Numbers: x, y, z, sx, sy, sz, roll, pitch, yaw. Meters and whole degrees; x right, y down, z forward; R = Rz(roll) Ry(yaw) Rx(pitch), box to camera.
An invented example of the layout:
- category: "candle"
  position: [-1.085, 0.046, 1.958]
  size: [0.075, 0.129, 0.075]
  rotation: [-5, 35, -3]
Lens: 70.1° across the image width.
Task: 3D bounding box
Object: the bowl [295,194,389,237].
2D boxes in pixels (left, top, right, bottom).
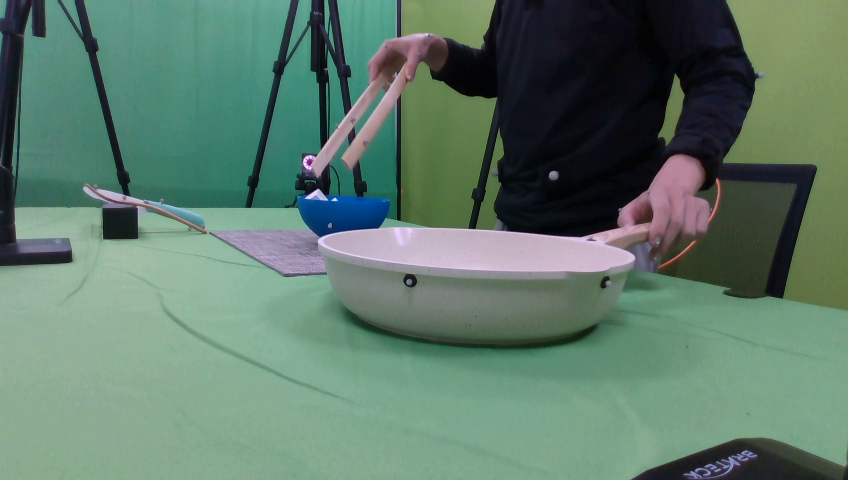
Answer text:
- category: "bowl"
  position: [-0.132, -0.032, 0.980]
  size: [0.151, 0.077, 0.151]
  rotation: [2, 7, 0]

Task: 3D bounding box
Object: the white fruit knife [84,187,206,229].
- category: "white fruit knife"
  position: [-0.488, -0.059, 1.071]
  size: [0.208, 0.027, 0.016]
  rotation: [17, 4, -33]

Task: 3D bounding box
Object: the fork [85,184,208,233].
- category: "fork"
  position: [-0.462, -0.051, 1.019]
  size: [0.208, 0.018, 0.028]
  rotation: [22, -11, -37]

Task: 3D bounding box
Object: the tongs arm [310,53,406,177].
- category: "tongs arm"
  position: [-0.108, -0.237, 1.090]
  size: [0.050, 0.026, 0.385]
  rotation: [-10, 37, 27]

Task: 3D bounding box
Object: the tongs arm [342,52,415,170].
- category: "tongs arm"
  position: [-0.073, -0.241, 1.072]
  size: [0.028, 0.028, 0.387]
  rotation: [-13, 35, 29]

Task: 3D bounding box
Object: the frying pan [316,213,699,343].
- category: "frying pan"
  position: [0.133, 0.013, 0.630]
  size: [0.490, 0.102, 0.305]
  rotation: [-12, 14, -30]
